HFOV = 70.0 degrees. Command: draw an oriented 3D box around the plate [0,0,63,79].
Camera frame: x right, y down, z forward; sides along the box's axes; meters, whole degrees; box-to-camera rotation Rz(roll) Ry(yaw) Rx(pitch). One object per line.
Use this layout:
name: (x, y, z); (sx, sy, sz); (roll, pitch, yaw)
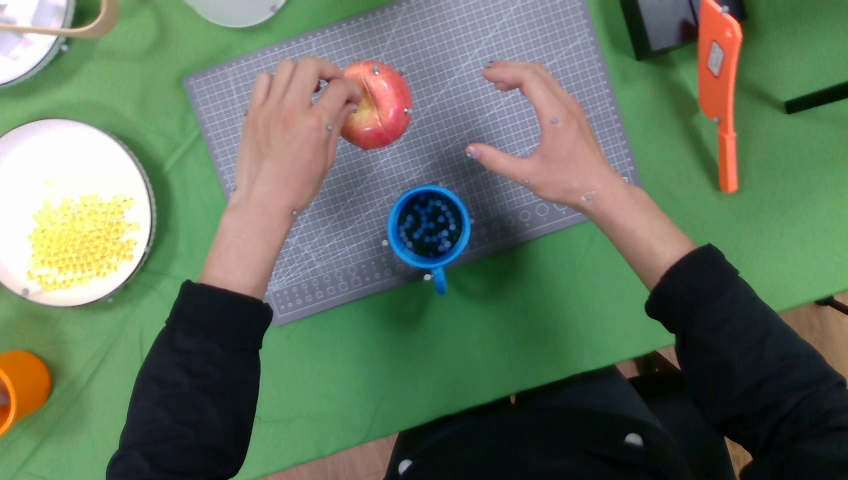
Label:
plate: (-0.489, -0.274, 0.656); (0.208, 0.039, 0.208); (0, 96, 0)

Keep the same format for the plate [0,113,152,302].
plate: (-0.404, -0.036, 0.677); (0.209, 0.038, 0.209); (0, 95, 1)

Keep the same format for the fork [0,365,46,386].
fork: (-0.521, 0.163, 0.640); (0.208, 0.018, 0.028); (-6, 95, -42)

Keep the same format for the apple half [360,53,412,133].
apple half: (-0.028, -0.143, 0.572); (0.033, 0.081, 0.081); (-18, 94, 14)

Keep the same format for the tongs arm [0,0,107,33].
tongs arm: (-0.523, -0.252, 0.626); (0.385, 0.026, 0.051); (10, 92, 2)

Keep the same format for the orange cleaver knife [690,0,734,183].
orange cleaver knife: (0.301, -0.158, 0.635); (0.012, 0.076, 0.213); (-20, 125, 2)

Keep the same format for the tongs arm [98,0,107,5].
tongs arm: (-0.503, -0.333, 0.620); (0.387, 0.028, 0.028); (23, 88, 1)

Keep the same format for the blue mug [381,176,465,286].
blue mug: (0.004, -0.008, 0.640); (0.082, 0.105, 0.116); (-12, 95, 2)

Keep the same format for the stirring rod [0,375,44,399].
stirring rod: (-0.507, 0.179, 0.644); (0.177, 0.006, 0.014); (-15, 83, -39)

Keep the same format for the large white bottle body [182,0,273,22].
large white bottle body: (-0.216, -0.299, 0.578); (0.130, 0.184, 0.130); (0, 94, 1)

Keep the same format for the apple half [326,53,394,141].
apple half: (-0.064, -0.131, 0.580); (0.053, 0.074, 0.081); (-20, 100, 14)
